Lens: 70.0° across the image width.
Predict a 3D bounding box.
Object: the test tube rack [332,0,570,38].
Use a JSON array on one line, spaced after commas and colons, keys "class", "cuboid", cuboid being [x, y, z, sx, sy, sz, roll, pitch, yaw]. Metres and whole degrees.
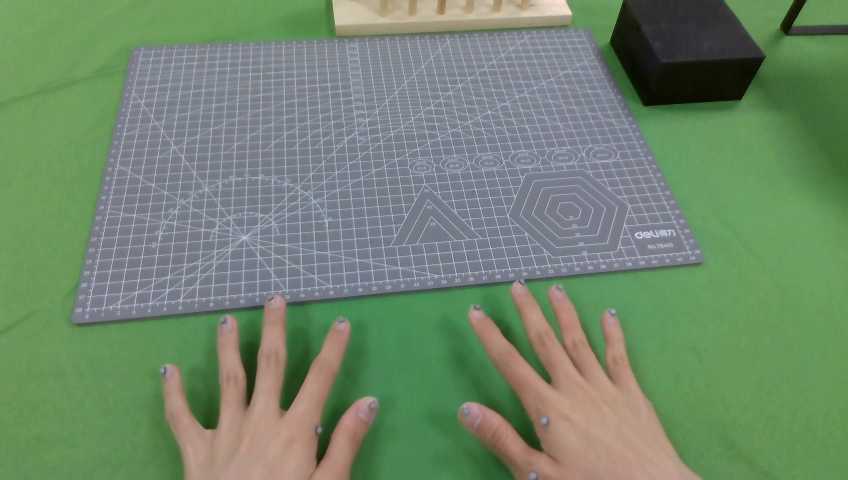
[{"class": "test tube rack", "cuboid": [0.029, -0.264, 0.605, 0.243, 0.086, 0.066, -5, 54, -8]}]
